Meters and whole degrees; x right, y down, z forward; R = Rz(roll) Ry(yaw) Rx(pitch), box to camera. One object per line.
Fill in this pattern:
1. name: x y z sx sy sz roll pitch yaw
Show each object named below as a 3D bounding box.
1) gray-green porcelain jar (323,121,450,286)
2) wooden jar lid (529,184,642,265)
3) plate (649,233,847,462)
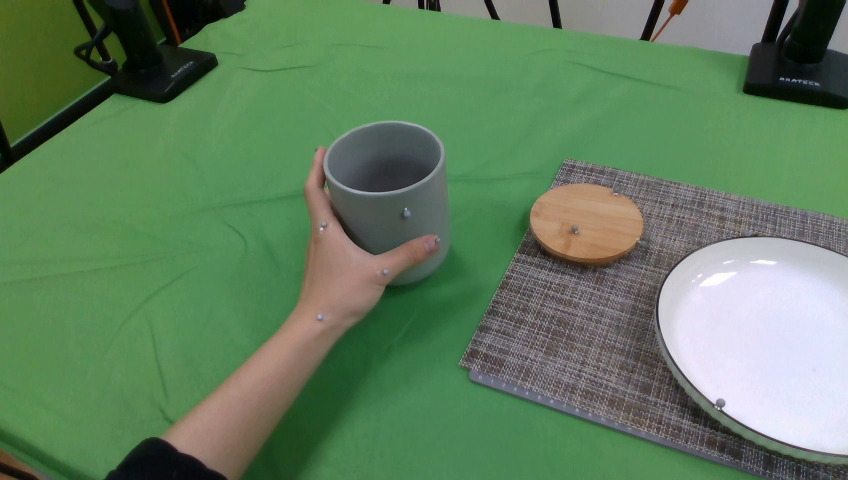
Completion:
1. gray-green porcelain jar: -0.030 -0.028 0.561 0.106 0.128 0.105 -3 45 3
2. wooden jar lid: 0.158 -0.015 0.598 0.108 0.021 0.107 -2 45 2
3. plate: 0.284 0.080 0.479 0.207 0.039 0.205 -3 45 3
